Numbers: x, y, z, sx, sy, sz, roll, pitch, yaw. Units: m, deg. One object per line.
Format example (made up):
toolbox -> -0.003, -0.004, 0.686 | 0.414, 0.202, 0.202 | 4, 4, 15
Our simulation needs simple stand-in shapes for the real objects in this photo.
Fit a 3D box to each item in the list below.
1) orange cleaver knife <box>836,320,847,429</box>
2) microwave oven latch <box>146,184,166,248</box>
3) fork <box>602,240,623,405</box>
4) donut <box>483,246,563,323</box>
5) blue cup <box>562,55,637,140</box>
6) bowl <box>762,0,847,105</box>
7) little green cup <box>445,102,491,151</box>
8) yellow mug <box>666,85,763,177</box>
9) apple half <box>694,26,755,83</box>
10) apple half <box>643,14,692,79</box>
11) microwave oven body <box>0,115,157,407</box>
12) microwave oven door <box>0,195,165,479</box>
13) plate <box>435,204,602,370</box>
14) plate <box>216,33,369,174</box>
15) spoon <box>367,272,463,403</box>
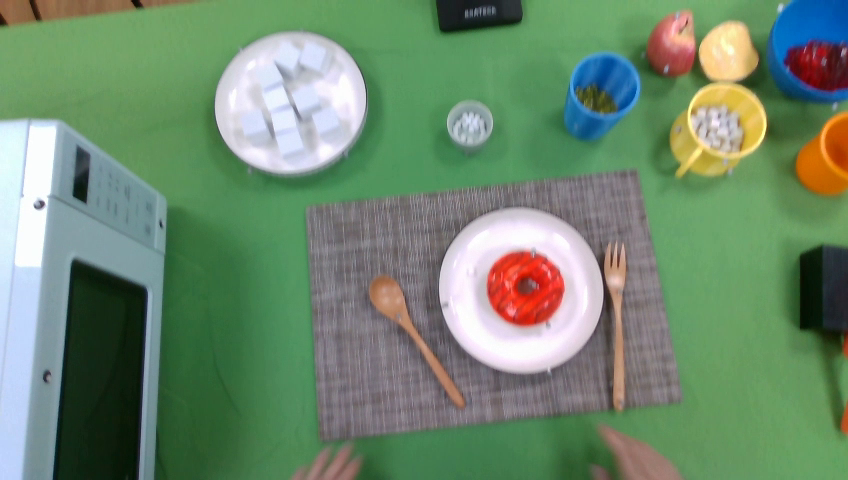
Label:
orange cleaver knife -> 0.520, 0.121, 0.720 | 0.012, 0.077, 0.212 | 8, 106, 6
microwave oven latch -> -0.354, -0.030, 0.785 | 0.030, 0.029, 0.079 | -1, 77, 1
fork -> 0.239, 0.101, 0.761 | 0.028, 0.019, 0.206 | 5, 75, -6
donut -> 0.122, 0.055, 0.755 | 0.099, 0.048, 0.098 | -1, 77, 3
blue cup -> 0.220, -0.177, 0.791 | 0.092, 0.100, 0.092 | 0, 78, 2
bowl -> 0.518, -0.240, 0.809 | 0.151, 0.077, 0.150 | 0, 77, 2
little green cup -> 0.060, -0.151, 0.822 | 0.061, 0.039, 0.061 | 0, 76, 2
yellow mug -> 0.368, -0.132, 0.794 | 0.099, 0.064, 0.131 | 41, 82, 10
apple half -> 0.410, -0.252, 0.839 | 0.081, 0.033, 0.081 | 0, 91, 8
apple half -> 0.326, -0.260, 0.822 | 0.053, 0.075, 0.080 | -2, 80, 6
microwave oven body -> -0.497, 0.125, 0.653 | 0.326, 0.261, 0.439 | -3, 77, 0
microwave oven door -> -0.349, 0.157, 0.635 | 0.039, 0.245, 0.354 | -4, 76, 1
plate -> 0.118, 0.059, 0.765 | 0.209, 0.038, 0.208 | 0, 76, 2
plate -> -0.178, -0.185, 0.836 | 0.207, 0.039, 0.206 | 0, 76, 2
spoon -> -0.010, 0.123, 0.761 | 0.041, 0.022, 0.193 | -30, 77, -25
